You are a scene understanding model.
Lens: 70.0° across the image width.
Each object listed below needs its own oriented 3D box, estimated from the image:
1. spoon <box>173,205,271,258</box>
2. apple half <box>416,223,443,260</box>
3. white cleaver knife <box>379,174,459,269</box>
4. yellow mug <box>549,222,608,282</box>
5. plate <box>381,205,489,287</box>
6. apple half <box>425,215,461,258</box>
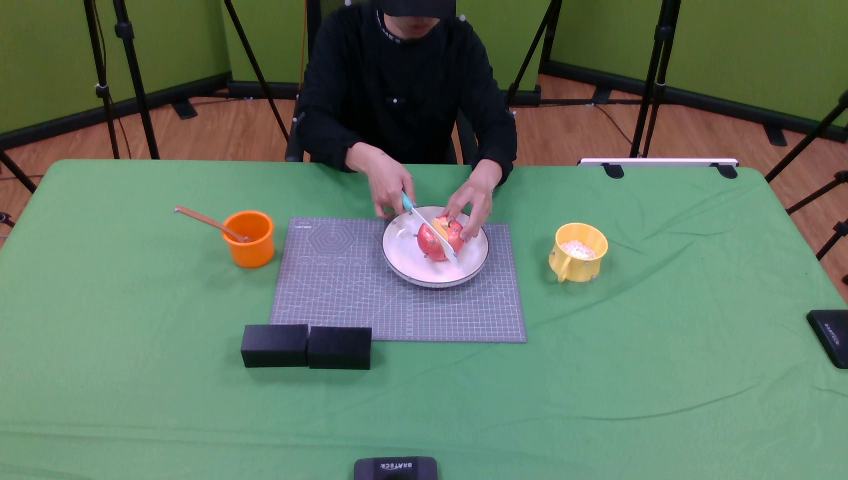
[{"bbox_3d":[-0.362,-0.017,1.098,0.021,0.195,0.041,-32,42,27],"label":"spoon"},{"bbox_3d":[0.005,0.011,1.140,0.033,0.082,0.081,-28,53,-15],"label":"apple half"},{"bbox_3d":[-0.016,-0.040,1.169,0.021,0.066,0.284,-29,48,-13],"label":"white cleaver knife"},{"bbox_3d":[0.287,0.031,1.159,0.099,0.064,0.130,27,51,21],"label":"yellow mug"},{"bbox_3d":[0.021,0.015,1.170,0.209,0.038,0.208,2,46,-2],"label":"plate"},{"bbox_3d":[0.038,-0.008,1.152,0.053,0.075,0.080,-16,51,-39],"label":"apple half"}]
